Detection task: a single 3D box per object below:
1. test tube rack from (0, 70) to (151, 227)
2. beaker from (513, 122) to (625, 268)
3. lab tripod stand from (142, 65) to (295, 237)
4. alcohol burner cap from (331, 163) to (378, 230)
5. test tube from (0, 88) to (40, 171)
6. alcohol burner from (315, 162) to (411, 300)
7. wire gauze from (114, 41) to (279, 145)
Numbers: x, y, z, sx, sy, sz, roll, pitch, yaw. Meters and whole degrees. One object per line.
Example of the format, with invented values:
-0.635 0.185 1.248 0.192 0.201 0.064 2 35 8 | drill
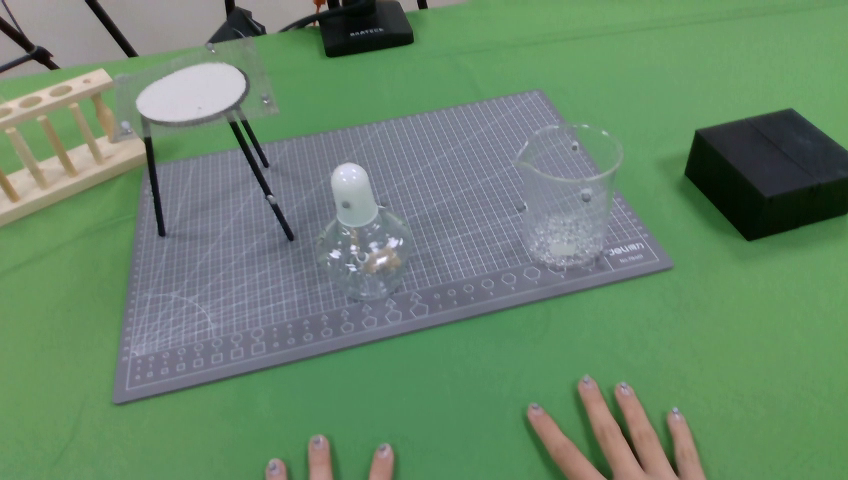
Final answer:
-0.411 -0.078 0.604 0.242 0.086 0.066 -31 50 -23 | test tube rack
0.114 -0.033 0.493 0.084 0.101 0.073 -5 44 3 | beaker
-0.183 -0.073 0.539 0.148 0.133 0.147 -3 47 3 | lab tripod stand
-0.054 -0.035 0.451 0.034 0.048 0.033 -4 46 4 | alcohol burner cap
-0.413 -0.131 0.588 0.017 0.151 0.017 -1 40 2 | test tube
-0.050 -0.010 0.476 0.078 0.120 0.077 -3 43 3 | alcohol burner
-0.189 -0.121 0.492 0.125 0.011 0.120 -17 46 -10 | wire gauze
